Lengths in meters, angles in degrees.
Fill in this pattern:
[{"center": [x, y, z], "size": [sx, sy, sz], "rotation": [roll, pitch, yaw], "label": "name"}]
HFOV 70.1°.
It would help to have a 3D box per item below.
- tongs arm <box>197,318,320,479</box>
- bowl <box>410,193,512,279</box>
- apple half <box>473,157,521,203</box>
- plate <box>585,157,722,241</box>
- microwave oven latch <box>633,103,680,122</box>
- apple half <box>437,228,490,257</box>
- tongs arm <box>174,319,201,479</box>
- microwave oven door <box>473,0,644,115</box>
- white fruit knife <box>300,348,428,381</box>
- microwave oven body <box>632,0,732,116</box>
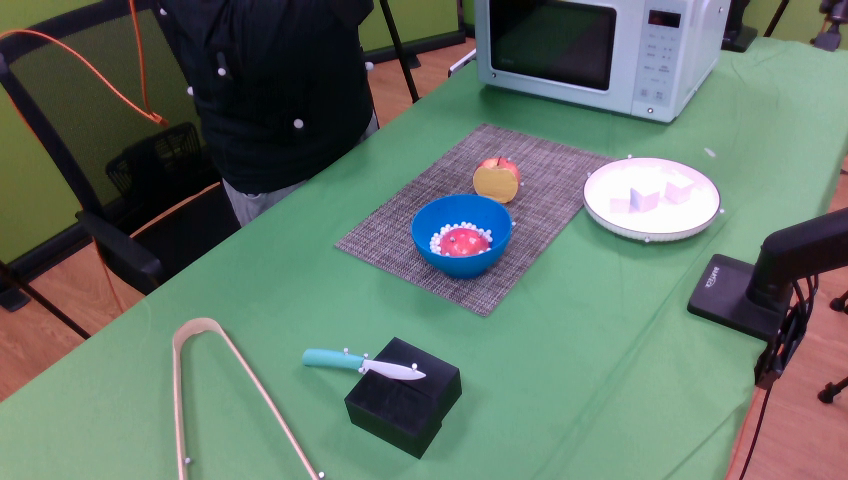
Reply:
[{"center": [-0.200, 0.208, 0.751], "size": [0.028, 0.028, 0.384], "rotation": [-31, 45, -22], "label": "tongs arm"}, {"center": [0.058, 0.005, 0.905], "size": [0.151, 0.077, 0.150], "rotation": [-4, 40, 4], "label": "bowl"}, {"center": [0.127, -0.106, 1.030], "size": [0.080, 0.075, 0.053], "rotation": [4, 38, 19], "label": "apple half"}, {"center": [0.367, -0.063, 0.979], "size": [0.207, 0.039, 0.206], "rotation": [-4, 41, 4], "label": "plate"}, {"center": [0.443, -0.249, 1.157], "size": [0.078, 0.029, 0.030], "rotation": [20, 48, 30], "label": "microwave oven latch"}, {"center": [0.056, 0.002, 0.902], "size": [0.081, 0.033, 0.081], "rotation": [-3, 41, 3], "label": "apple half"}, {"center": [-0.272, 0.234, 0.723], "size": [0.051, 0.026, 0.381], "rotation": [-18, 40, -15], "label": "tongs arm"}, {"center": [0.257, -0.396, 1.199], "size": [0.353, 0.245, 0.039], "rotation": [21, 48, 29], "label": "microwave oven door"}, {"center": [-0.079, 0.154, 0.748], "size": [0.206, 0.027, 0.016], "rotation": [1, 20, 34], "label": "white fruit knife"}, {"center": [0.377, -0.463, 1.267], "size": [0.438, 0.261, 0.327], "rotation": [21, 48, 30], "label": "microwave oven body"}]
